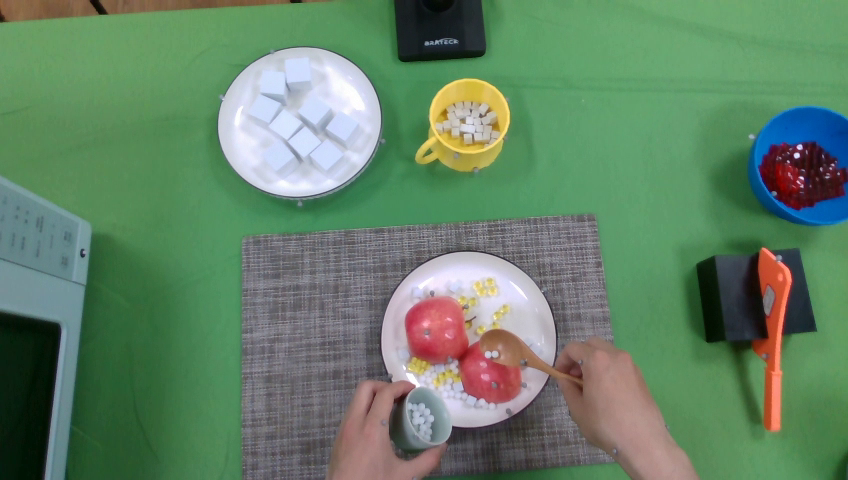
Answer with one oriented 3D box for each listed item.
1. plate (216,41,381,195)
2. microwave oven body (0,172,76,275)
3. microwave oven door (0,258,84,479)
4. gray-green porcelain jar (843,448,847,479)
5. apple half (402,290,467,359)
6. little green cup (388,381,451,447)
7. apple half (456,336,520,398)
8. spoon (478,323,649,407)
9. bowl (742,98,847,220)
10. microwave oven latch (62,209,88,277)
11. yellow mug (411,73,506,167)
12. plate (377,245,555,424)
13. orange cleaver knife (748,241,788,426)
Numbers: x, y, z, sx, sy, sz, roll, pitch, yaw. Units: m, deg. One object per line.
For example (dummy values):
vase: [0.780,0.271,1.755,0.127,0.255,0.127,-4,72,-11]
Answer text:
plate: [-0.159,-0.155,0.781,0.208,0.039,0.206,0,77,0]
microwave oven body: [-0.567,0.156,0.587,0.326,0.261,0.439,-1,78,-1]
microwave oven door: [-0.420,0.195,0.576,0.039,0.245,0.354,-1,77,0]
gray-green porcelain jar: [0.534,0.259,0.651,0.106,0.127,0.105,0,77,-1]
apple half: [0.011,0.097,0.706,0.075,0.053,0.080,-6,78,0]
little green cup: [-0.006,0.183,0.628,0.062,0.039,0.061,21,41,-19]
apple half: [0.075,0.146,0.706,0.081,0.033,0.081,0,74,0]
spoon: [0.139,0.134,0.633,0.192,0.022,0.042,20,106,37]
bowl: [0.460,-0.090,0.753,0.151,0.077,0.150,0,78,0]
microwave oven latch: [-0.423,0.004,0.722,0.030,0.029,0.079,1,78,-1]
yellow mug: [0.038,-0.142,0.766,0.131,0.064,0.099,-35,79,-8]
plate: [0.049,0.110,0.720,0.209,0.038,0.208,0,78,-1]
orange cleaver knife: [0.397,0.109,0.705,0.012,0.077,0.212,-3,101,3]
